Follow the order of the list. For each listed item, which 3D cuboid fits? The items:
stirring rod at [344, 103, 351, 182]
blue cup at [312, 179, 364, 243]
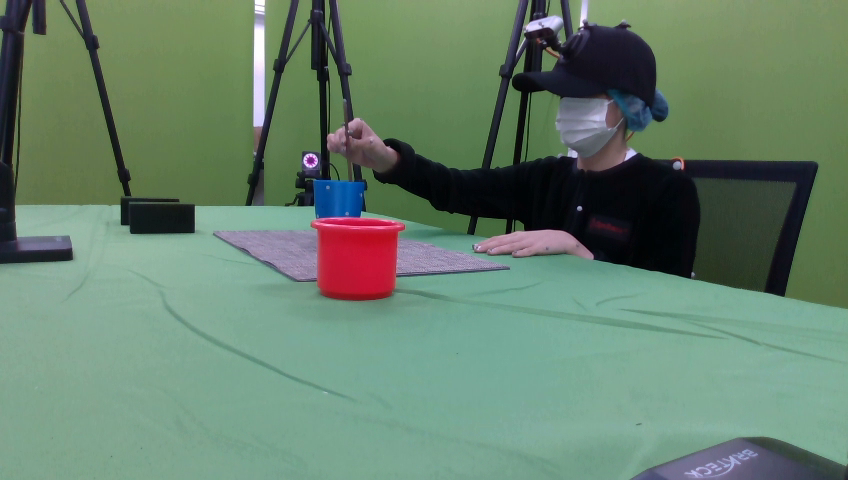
[{"bbox_3d":[-0.124,-0.135,0.991,0.006,0.176,0.014,-4,3,-19],"label":"stirring rod"},{"bbox_3d":[-0.143,-0.047,0.997,0.093,0.100,0.092,3,6,0],"label":"blue cup"}]
